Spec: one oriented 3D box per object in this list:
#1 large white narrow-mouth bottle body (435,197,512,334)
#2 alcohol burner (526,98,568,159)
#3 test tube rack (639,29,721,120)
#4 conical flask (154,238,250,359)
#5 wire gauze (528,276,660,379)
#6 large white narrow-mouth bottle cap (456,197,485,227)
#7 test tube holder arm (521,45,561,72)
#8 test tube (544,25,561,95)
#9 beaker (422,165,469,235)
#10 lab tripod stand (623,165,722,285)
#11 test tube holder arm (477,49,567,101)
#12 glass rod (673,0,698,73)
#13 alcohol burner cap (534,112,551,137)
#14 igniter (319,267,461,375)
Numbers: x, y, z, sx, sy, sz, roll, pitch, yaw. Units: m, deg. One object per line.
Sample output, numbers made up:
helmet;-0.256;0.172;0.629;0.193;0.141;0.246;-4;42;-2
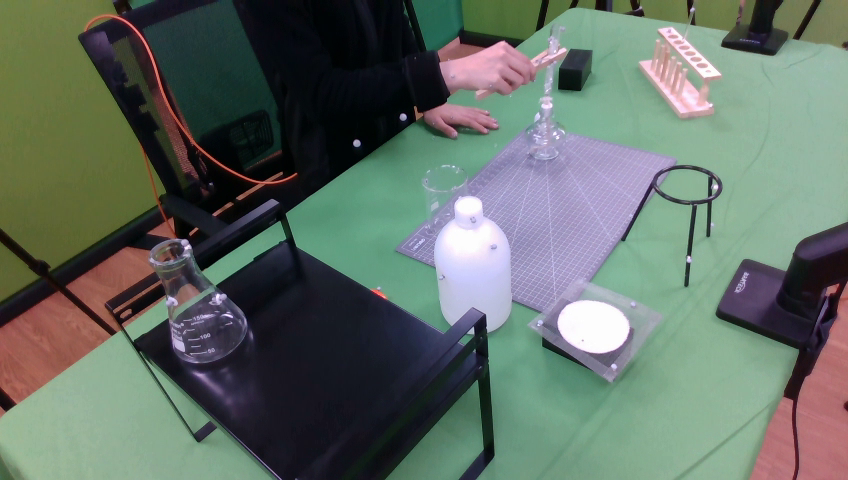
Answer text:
large white narrow-mouth bottle body;0.066;0.028;0.805;0.102;0.195;0.101;-4;40;4
alcohol burner;0.228;-0.210;1.118;0.078;0.119;0.077;-5;43;5
test tube rack;0.527;-0.351;1.262;0.067;0.085;0.241;-8;40;1
conical flask;-0.225;0.055;0.597;0.075;0.122;0.075;-5;41;5
wire gauze;0.214;0.103;0.763;0.124;0.011;0.122;30;52;35
large white narrow-mouth bottle cap;0.058;-0.035;0.750;0.038;0.024;0.037;-4;40;4
test tube holder arm;0.191;-0.294;0.991;0.088;0.015;0.010;-38;63;-21
test tube;0.213;-0.296;1.009;0.017;0.151;0.017;-2;62;5
beaker;0.041;-0.063;0.986;0.073;0.101;0.084;20;47;29
lab tripod stand;0.365;-0.030;0.874;0.148;0.132;0.147;-6;41;6
test tube holder arm;0.159;-0.267;0.974;0.179;0.015;0.013;-31;60;-17
glass rod;0.537;-0.425;1.244;0.008;0.200;0.008;0;47;0
alcohol burner cap;0.235;-0.231;1.197;0.034;0.048;0.033;-5;39;5
igniter;-0.060;0.108;0.862;0.274;0.025;0.057;28;62;35
